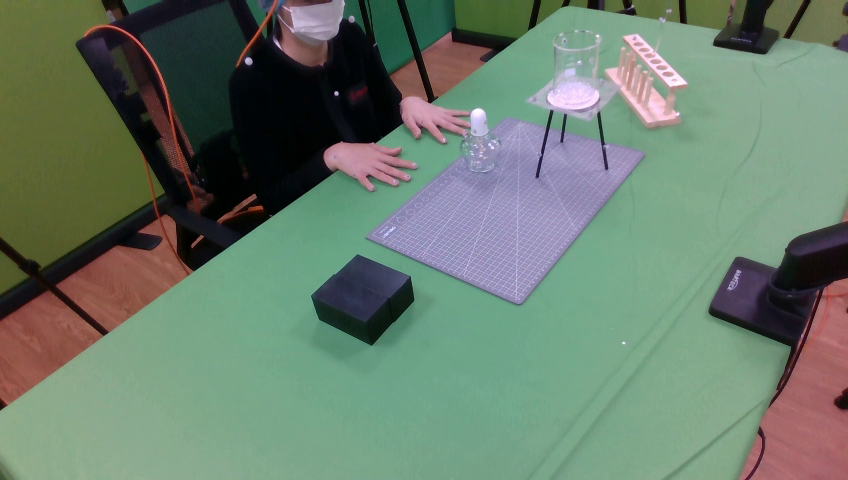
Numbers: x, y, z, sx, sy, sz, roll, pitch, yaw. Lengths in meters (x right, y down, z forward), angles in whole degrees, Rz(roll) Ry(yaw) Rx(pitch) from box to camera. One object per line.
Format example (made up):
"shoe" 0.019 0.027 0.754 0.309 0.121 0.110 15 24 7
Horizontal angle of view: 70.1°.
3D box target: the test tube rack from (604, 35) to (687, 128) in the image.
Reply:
"test tube rack" 0.447 -0.330 1.242 0.067 0.085 0.241 -9 41 -2

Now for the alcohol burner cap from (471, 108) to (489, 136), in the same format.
"alcohol burner cap" 0.098 -0.211 1.074 0.034 0.048 0.033 -6 42 6

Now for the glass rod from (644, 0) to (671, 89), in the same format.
"glass rod" 0.463 -0.387 1.204 0.008 0.200 0.008 0 47 1

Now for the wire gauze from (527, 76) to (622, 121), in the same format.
"wire gauze" 0.255 -0.247 1.031 0.124 0.011 0.122 23 49 34

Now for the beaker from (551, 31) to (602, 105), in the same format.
"beaker" 0.252 -0.282 0.998 0.084 0.101 0.073 -16 42 -7

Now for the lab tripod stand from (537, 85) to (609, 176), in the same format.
"lab tripod stand" 0.259 -0.192 1.068 0.148 0.132 0.147 -4 42 4

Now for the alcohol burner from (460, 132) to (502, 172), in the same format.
"alcohol burner" 0.102 -0.185 1.098 0.078 0.119 0.077 -6 40 5
